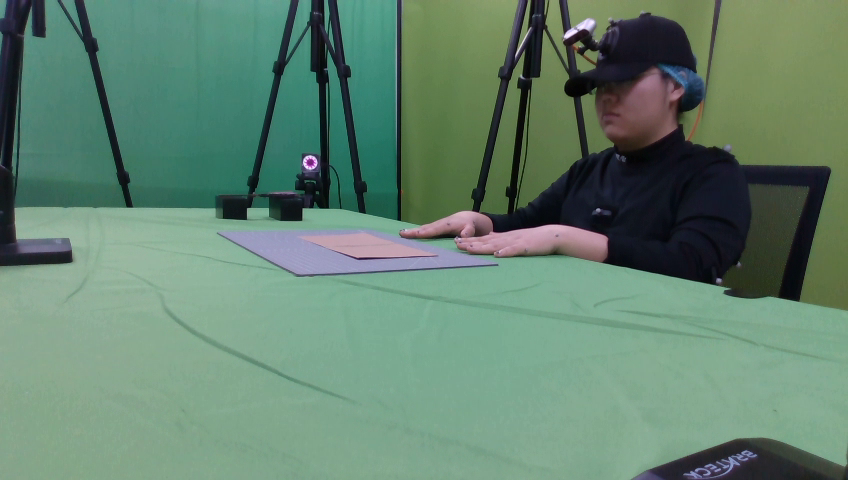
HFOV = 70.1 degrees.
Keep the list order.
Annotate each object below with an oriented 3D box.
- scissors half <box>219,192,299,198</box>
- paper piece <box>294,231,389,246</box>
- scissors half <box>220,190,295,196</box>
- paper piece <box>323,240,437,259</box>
[{"bbox_3d":[-0.370,-0.101,1.363,0.176,0.013,0.040,-2,9,-19],"label":"scissors half"},{"bbox_3d":[-0.138,-0.003,1.045,0.136,0.004,0.134,-3,10,-31],"label":"paper piece"},{"bbox_3d":[-0.379,-0.105,1.380,0.176,0.013,0.040,-5,16,-36],"label":"scissors half"},{"bbox_3d":[-0.069,0.015,0.932,0.137,0.008,0.137,-5,11,-30],"label":"paper piece"}]
